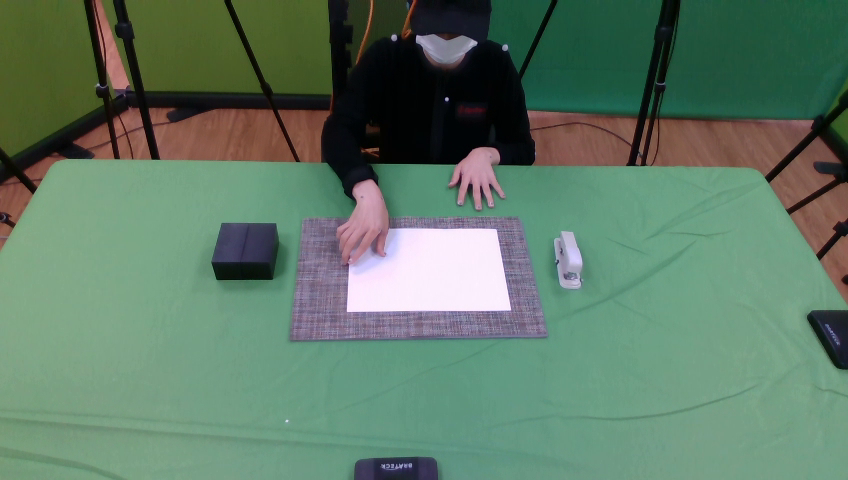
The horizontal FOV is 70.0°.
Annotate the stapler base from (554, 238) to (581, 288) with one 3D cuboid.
[{"bbox_3d":[0.282,0.038,1.181,0.041,0.024,0.130,5,44,-2],"label":"stapler base"}]

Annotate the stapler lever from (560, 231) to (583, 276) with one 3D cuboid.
[{"bbox_3d":[0.282,0.019,1.165,0.027,0.040,0.117,5,44,-1],"label":"stapler lever"}]
